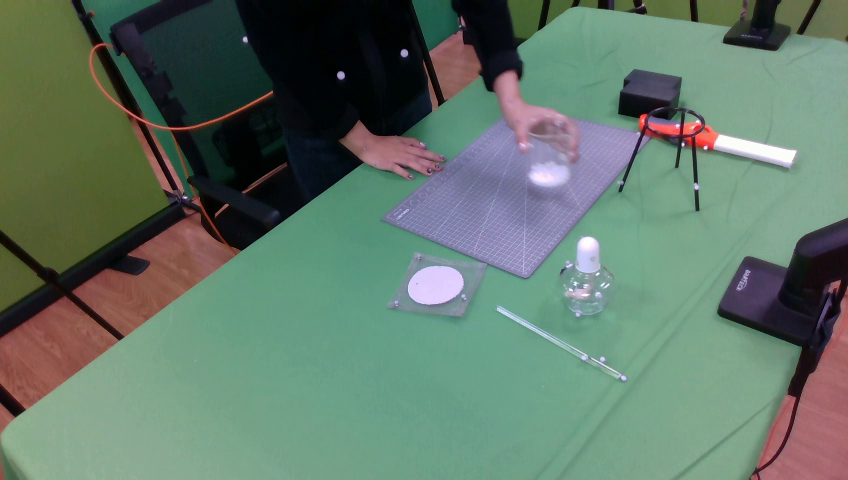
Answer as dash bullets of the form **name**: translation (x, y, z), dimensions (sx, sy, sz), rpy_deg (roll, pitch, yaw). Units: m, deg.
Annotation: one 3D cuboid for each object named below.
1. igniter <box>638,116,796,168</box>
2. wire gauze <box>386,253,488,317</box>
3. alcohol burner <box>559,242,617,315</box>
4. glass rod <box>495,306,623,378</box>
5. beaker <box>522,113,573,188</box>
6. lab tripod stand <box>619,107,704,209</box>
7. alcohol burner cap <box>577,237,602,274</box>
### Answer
- **igniter**: translation (0.517, -0.181, 1.093), dimensions (0.274, 0.025, 0.057), rpy_deg (23, 65, 32)
- **wire gauze**: translation (0.021, 0.067, 0.910), dimensions (0.121, 0.011, 0.125), rpy_deg (9, 41, 20)
- **alcohol burner**: translation (0.222, 0.045, 0.816), dimensions (0.078, 0.119, 0.077), rpy_deg (-4, 42, 4)
- **glass rod**: translation (0.174, 0.132, 0.804), dimensions (0.198, 0.008, 0.008), rpy_deg (27, 53, 35)
- **beaker**: translation (0.200, -0.140, 0.964), dimensions (0.083, 0.101, 0.074), rpy_deg (25, 50, 37)
- **lab tripod stand**: translation (0.400, -0.136, 0.981), dimensions (0.148, 0.132, 0.147), rpy_deg (-4, 41, 4)
- **alcohol burner cap**: translation (0.217, 0.018, 0.793), dimensions (0.034, 0.048, 0.033), rpy_deg (-7, 35, 6)
